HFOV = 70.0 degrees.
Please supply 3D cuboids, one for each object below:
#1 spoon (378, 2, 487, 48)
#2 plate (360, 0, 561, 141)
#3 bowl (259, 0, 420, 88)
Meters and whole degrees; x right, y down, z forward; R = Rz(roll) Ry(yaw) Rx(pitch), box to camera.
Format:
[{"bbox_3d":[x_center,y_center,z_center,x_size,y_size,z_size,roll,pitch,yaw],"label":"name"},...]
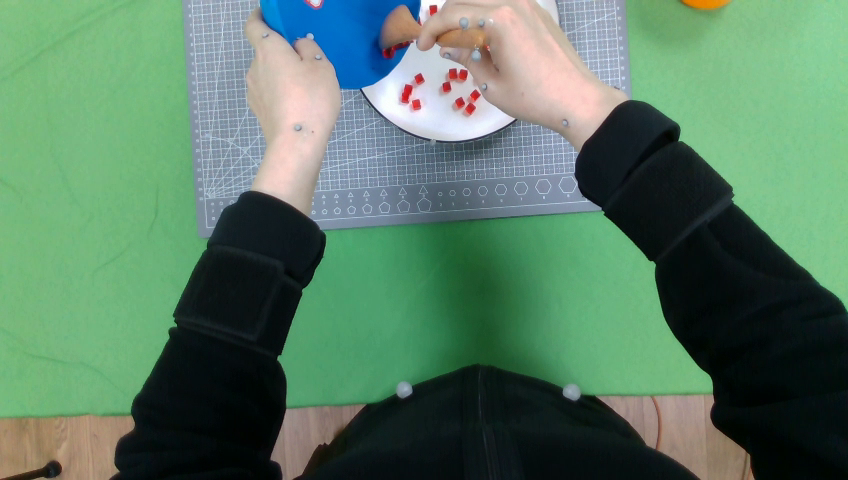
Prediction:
[{"bbox_3d":[0.003,-0.158,0.457,0.022,0.191,0.041,25,98,-33],"label":"spoon"},{"bbox_3d":[0.028,-0.201,0.598,0.209,0.038,0.209,0,90,3],"label":"plate"},{"bbox_3d":[-0.082,-0.209,0.503,0.076,0.153,0.151,24,91,39],"label":"bowl"}]
